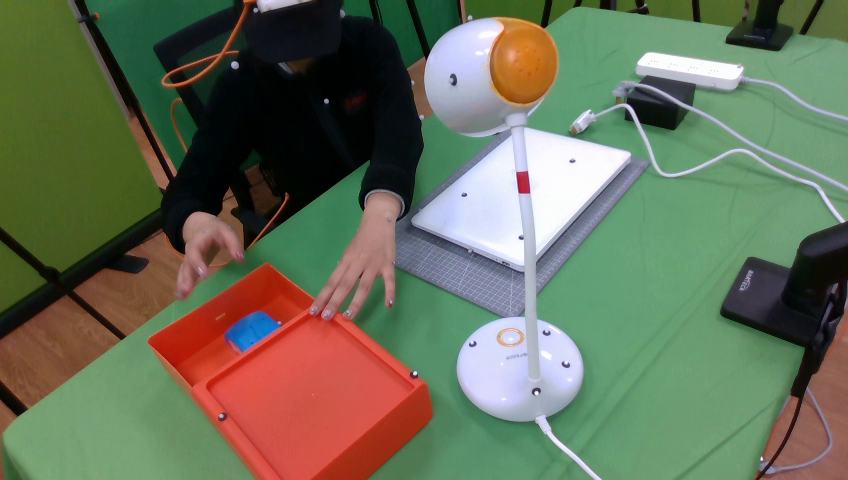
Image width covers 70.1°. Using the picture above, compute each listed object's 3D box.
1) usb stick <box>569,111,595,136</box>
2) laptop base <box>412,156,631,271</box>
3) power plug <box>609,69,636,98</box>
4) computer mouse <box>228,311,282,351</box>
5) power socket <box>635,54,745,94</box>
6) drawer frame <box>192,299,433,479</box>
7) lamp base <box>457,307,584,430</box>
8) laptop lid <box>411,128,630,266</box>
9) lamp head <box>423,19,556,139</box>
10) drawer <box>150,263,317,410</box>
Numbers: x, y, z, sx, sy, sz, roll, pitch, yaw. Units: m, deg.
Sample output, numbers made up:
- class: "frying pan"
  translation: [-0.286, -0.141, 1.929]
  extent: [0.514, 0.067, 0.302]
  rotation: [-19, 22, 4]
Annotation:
- class: "usb stick"
  translation: [0.309, -0.227, 1.189]
  extent: [0.059, 0.021, 0.027]
  rotation: [-44, 13, -19]
- class: "laptop base"
  translation: [0.176, -0.084, 1.055]
  extent: [0.233, 0.023, 0.355]
  rotation: [21, 48, 36]
- class: "power plug"
  translation: [0.406, -0.323, 1.233]
  extent: [0.035, 0.072, 0.052]
  rotation: [5, 38, -35]
- class: "computer mouse"
  translation: [-0.224, 0.141, 0.842]
  extent: [0.063, 0.041, 0.116]
  rotation: [-35, 46, -28]
- class: "power socket"
  translation: [0.563, -0.358, 1.295]
  extent: [0.225, 0.033, 0.072]
  rotation: [21, 49, 31]
- class: "drawer frame"
  translation: [-0.134, 0.195, 0.734]
  extent: [0.202, 0.083, 0.211]
  rotation: [-35, 47, -29]
- class: "lamp base"
  translation: [0.115, 0.108, 0.713]
  extent: [0.161, 0.181, 0.178]
  rotation: [-16, 42, -8]
- class: "laptop lid"
  translation: [0.172, -0.093, 1.049]
  extent: [0.239, 0.013, 0.358]
  rotation: [23, 49, 36]
- class: "lamp head"
  translation: [0.068, -0.151, 0.563]
  extent: [0.113, 0.113, 0.122]
  rotation: [-21, 18, -13]
- class: "drawer"
  translation: [-0.223, 0.146, 0.814]
  extent: [0.210, 0.073, 0.195]
  rotation: [29, 51, 36]
